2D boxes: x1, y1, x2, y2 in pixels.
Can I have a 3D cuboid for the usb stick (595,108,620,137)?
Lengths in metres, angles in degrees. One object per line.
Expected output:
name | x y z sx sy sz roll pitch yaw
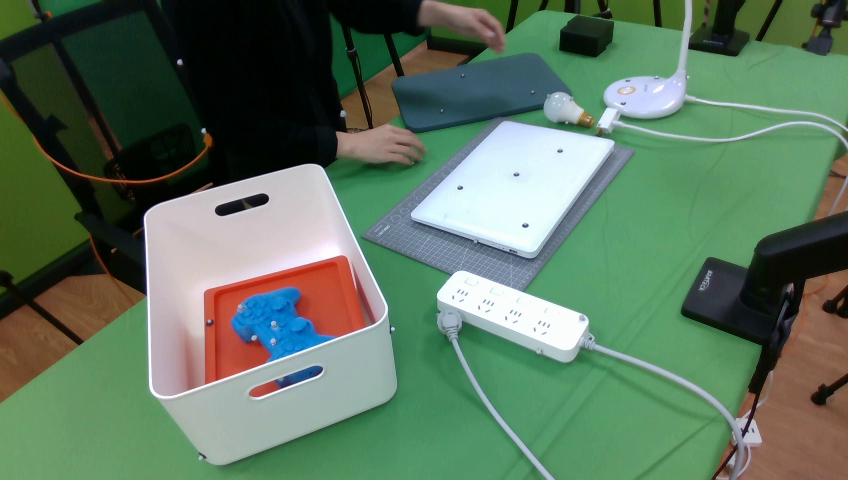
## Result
usb stick | 0.355 -0.225 1.175 0.027 0.022 0.059 29 85 40

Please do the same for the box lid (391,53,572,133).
box lid | 0.122 -0.339 1.366 0.372 0.015 0.261 -12 40 -5

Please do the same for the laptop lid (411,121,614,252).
laptop lid | 0.164 -0.112 1.068 0.240 0.013 0.357 19 46 30

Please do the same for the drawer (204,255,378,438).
drawer | -0.178 0.129 0.786 0.195 0.073 0.210 -15 39 -9

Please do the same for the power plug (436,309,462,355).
power plug | 0.032 0.126 0.809 0.035 0.053 0.072 3 59 7

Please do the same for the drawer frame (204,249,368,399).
drawer frame | -0.174 0.129 0.791 0.202 0.083 0.212 -16 45 -8

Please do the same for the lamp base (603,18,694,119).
lamp base | 0.460 -0.355 1.205 0.179 0.181 0.160 2 41 7

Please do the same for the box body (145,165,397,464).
box body | -0.205 0.080 0.802 0.255 0.161 0.361 -18 41 -13

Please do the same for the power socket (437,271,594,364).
power socket | 0.118 0.102 0.830 0.225 0.033 0.072 20 48 28

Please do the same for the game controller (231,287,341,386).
game controller | -0.167 0.110 0.735 0.097 0.052 0.154 -34 47 -22

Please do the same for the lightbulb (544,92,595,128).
lightbulb | 0.293 -0.256 1.215 0.107 0.059 0.059 30 51 16

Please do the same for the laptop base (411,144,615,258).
laptop base | 0.167 -0.102 1.074 0.234 0.023 0.355 17 45 30
